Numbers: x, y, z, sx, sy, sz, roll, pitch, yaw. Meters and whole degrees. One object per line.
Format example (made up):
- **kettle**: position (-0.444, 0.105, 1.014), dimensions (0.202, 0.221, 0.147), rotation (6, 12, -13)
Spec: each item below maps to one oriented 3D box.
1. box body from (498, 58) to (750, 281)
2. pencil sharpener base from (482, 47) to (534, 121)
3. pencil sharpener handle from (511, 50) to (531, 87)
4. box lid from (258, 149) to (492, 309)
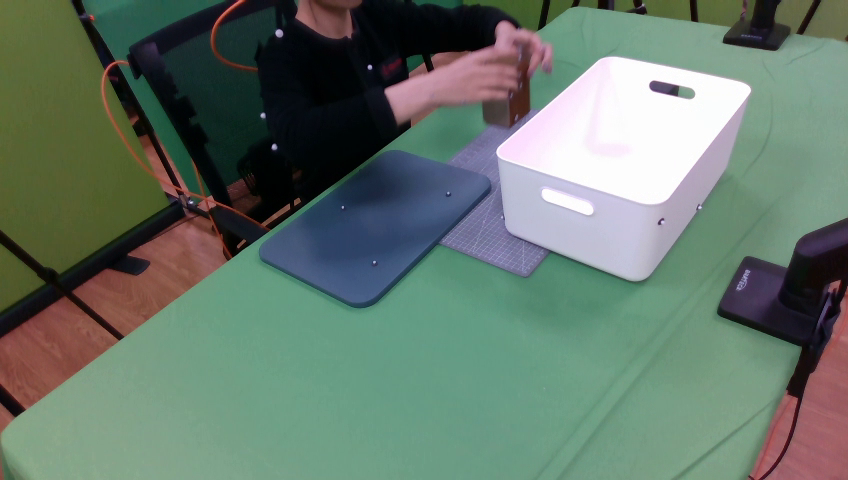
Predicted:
- **box body**: position (0.315, -0.124, 0.958), dimensions (0.252, 0.161, 0.365), rotation (23, 50, 32)
- **pencil sharpener base**: position (0.149, -0.274, 1.057), dimensions (0.061, 0.107, 0.077), rotation (19, 43, 34)
- **pencil sharpener handle**: position (0.179, -0.310, 1.081), dimensions (0.035, 0.068, 0.031), rotation (18, 43, 34)
- **box lid**: position (-0.078, -0.040, 1.052), dimensions (0.261, 0.015, 0.372), rotation (22, 49, 32)
